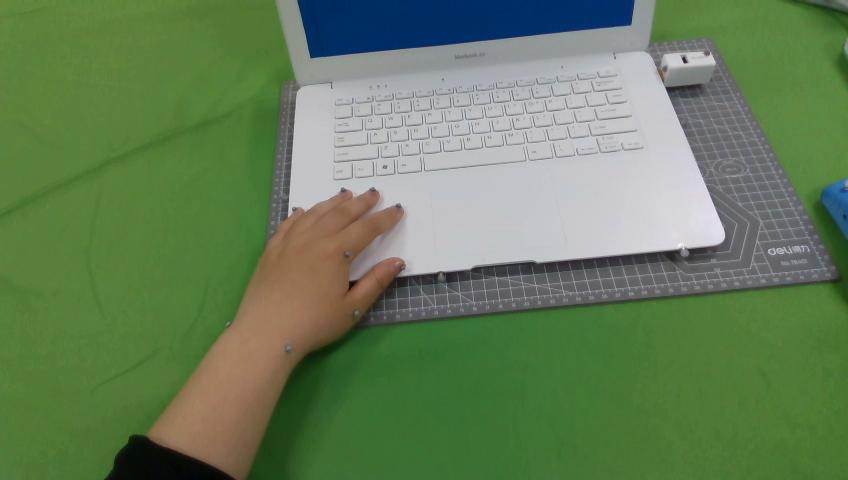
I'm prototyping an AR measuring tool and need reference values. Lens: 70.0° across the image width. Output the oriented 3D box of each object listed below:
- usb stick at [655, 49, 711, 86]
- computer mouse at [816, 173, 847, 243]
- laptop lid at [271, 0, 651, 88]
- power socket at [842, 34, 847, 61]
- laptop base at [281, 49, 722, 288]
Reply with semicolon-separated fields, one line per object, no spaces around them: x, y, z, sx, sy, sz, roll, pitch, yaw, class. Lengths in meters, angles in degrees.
0.238;-0.164;0.577;0.059;0.027;0.021;-6;55;5;usb stick
0.359;-0.011;0.463;0.063;0.041;0.116;-10;51;1;computer mouse
0.033;-0.255;0.533;0.357;0.244;0.013;-7;42;2;laptop lid
0.448;-0.123;0.537;0.072;0.033;0.224;-3;55;4;power socket
0.053;-0.072;0.545;0.354;0.023;0.233;-6;58;1;laptop base
